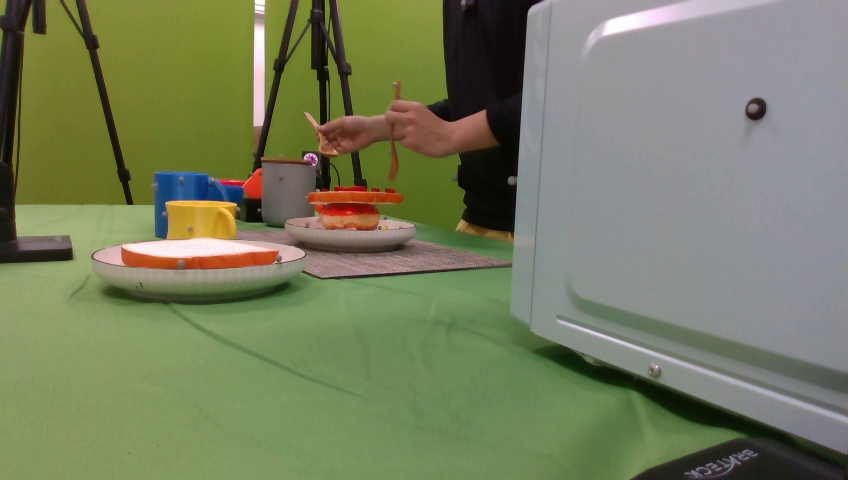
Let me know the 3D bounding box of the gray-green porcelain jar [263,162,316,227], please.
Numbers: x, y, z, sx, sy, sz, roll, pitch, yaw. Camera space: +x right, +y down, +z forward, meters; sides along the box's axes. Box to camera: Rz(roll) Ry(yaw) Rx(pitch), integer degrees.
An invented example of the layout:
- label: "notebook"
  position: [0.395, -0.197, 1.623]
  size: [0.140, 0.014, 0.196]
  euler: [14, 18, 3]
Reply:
- label: "gray-green porcelain jar"
  position: [-0.271, -0.092, 1.217]
  size: [0.106, 0.126, 0.106]
  euler: [2, 7, 0]

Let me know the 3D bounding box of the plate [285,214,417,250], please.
- label: "plate"
  position: [-0.116, -0.014, 0.964]
  size: [0.209, 0.038, 0.209]
  euler: [2, 7, 0]

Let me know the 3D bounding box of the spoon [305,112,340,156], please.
- label: "spoon"
  position: [-0.231, -0.239, 1.350]
  size: [0.042, 0.021, 0.193]
  euler: [-4, 43, -30]

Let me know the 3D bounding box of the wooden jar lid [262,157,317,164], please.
- label: "wooden jar lid"
  position: [-0.269, -0.154, 1.208]
  size: [0.108, 0.020, 0.108]
  euler: [3, 4, 0]

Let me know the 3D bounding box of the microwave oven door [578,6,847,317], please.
- label: "microwave oven door"
  position: [0.294, -0.067, 0.570]
  size: [0.358, 0.243, 0.039]
  euler: [-3, 9, -31]

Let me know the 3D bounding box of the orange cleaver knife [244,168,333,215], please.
- label: "orange cleaver knife"
  position: [-0.300, -0.089, 1.351]
  size: [0.212, 0.077, 0.012]
  euler: [28, -9, -34]

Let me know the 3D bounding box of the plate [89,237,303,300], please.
- label: "plate"
  position: [-0.233, 0.029, 0.637]
  size: [0.208, 0.039, 0.207]
  euler: [2, 7, 0]

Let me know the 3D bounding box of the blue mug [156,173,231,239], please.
- label: "blue mug"
  position: [-0.381, -0.057, 1.004]
  size: [0.117, 0.106, 0.082]
  euler: [0, 8, -12]

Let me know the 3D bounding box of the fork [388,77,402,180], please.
- label: "fork"
  position: [-0.053, -0.204, 1.124]
  size: [0.019, 0.207, 0.028]
  euler: [-14, 41, -22]

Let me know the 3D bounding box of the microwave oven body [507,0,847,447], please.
- label: "microwave oven body"
  position: [0.331, -0.042, 0.425]
  size: [0.444, 0.260, 0.324]
  euler: [-2, 8, -31]

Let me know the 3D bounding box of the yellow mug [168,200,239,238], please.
- label: "yellow mug"
  position: [-0.320, -0.023, 0.904]
  size: [0.130, 0.064, 0.100]
  euler: [9, 11, 36]

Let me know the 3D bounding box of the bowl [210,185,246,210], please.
- label: "bowl"
  position: [-0.422, -0.067, 1.166]
  size: [0.151, 0.077, 0.151]
  euler: [2, 7, 0]

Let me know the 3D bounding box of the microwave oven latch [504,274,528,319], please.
- label: "microwave oven latch"
  position: [0.100, 0.041, 0.470]
  size: [0.079, 0.029, 0.030]
  euler: [-1, 7, -27]

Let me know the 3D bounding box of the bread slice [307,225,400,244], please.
- label: "bread slice"
  position: [-0.103, -0.009, 0.962]
  size: [0.131, 0.019, 0.105]
  euler: [2, 8, 25]

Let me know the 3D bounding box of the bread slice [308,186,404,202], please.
- label: "bread slice"
  position: [-0.114, -0.071, 0.952]
  size: [0.134, 0.018, 0.107]
  euler: [-1, 1, 21]
